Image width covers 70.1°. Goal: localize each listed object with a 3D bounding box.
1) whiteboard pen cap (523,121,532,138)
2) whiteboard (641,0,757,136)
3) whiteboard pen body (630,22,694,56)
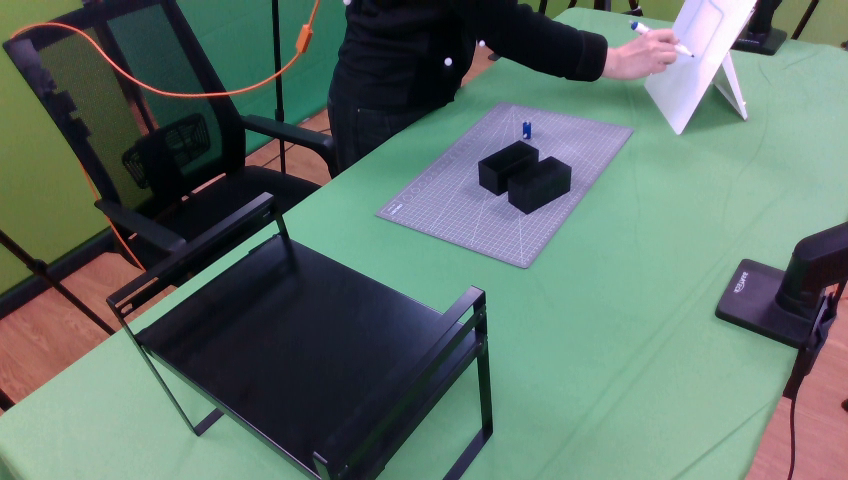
[{"bbox_3d":[0.204,-0.216,1.185,0.018,0.033,0.018,-6,41,6],"label":"whiteboard pen cap"},{"bbox_3d":[0.576,-0.366,1.147,0.144,0.306,0.216,9,39,-9],"label":"whiteboard"},{"bbox_3d":[0.436,-0.363,1.101,0.141,0.017,0.017,18,38,-16],"label":"whiteboard pen body"}]
